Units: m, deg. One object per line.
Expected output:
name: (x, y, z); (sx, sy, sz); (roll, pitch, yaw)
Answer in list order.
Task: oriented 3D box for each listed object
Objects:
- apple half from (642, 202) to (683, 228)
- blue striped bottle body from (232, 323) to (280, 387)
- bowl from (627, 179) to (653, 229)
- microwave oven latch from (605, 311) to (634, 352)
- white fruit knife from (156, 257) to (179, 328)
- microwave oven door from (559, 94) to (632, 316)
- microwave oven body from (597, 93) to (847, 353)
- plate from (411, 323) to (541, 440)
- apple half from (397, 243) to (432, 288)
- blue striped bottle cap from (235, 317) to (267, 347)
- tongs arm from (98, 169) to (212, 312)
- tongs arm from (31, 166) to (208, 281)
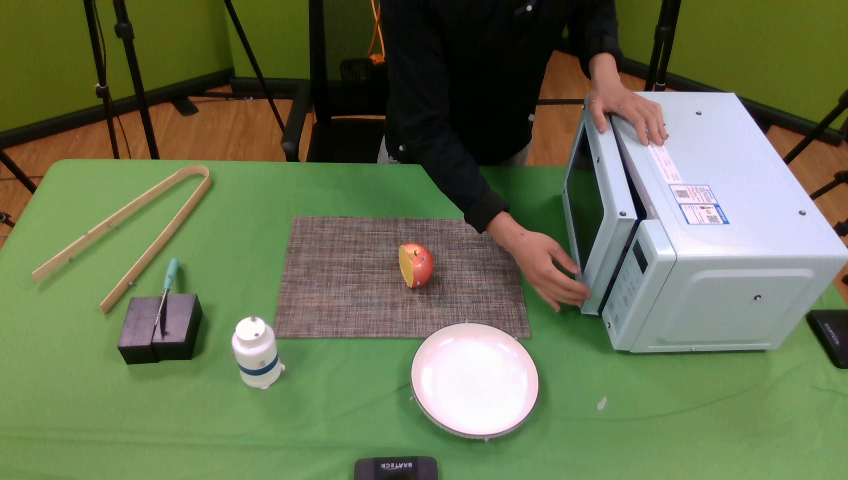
apple half: (0.458, -0.055, 1.160); (0.081, 0.033, 0.081); (0, 31, 0)
blue striped bottle body: (-0.262, 0.172, 0.944); (0.063, 0.121, 0.062); (2, 46, -2)
bowl: (0.457, -0.047, 1.167); (0.151, 0.077, 0.150); (7, 36, -5)
microwave oven latch: (0.335, 0.153, 1.044); (0.030, 0.029, 0.078); (2, 45, -1)
white fruit knife: (-0.440, 0.085, 1.037); (0.016, 0.027, 0.206); (10, 26, -19)
microwave oven door: (0.310, -0.075, 1.122); (0.039, 0.245, 0.353); (4, 46, 0)
microwave oven body: (0.476, -0.041, 1.110); (0.326, 0.261, 0.438); (-1, 45, -4)
plate: (0.082, 0.228, 0.976); (0.208, 0.039, 0.206); (2, 46, -2)
apple half: (-0.013, 0.047, 1.115); (0.053, 0.075, 0.080); (-10, 43, -21)
blue striped bottle cap: (-0.259, 0.137, 0.907); (0.044, 0.021, 0.044); (2, 43, -2)
tongs arm: (-0.503, -0.012, 1.167); (0.028, 0.028, 0.385); (11, 45, 11)
tongs arm: (-0.578, -0.040, 1.185); (0.050, 0.026, 0.384); (23, 47, 17)
